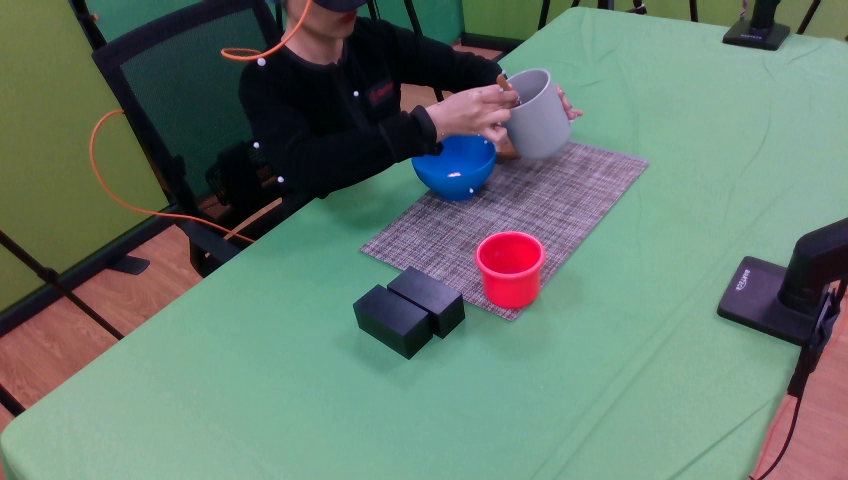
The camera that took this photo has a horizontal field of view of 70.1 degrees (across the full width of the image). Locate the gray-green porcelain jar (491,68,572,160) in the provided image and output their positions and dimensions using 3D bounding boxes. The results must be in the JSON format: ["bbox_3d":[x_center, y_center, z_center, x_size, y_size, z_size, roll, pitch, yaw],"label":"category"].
[{"bbox_3d":[0.188,-0.210,1.035,0.105,0.127,0.105,-21,40,20],"label":"gray-green porcelain jar"}]

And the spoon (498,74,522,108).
[{"bbox_3d":[0.147,-0.232,1.003,0.041,0.195,0.021,-38,67,12],"label":"spoon"}]

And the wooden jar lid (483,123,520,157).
[{"bbox_3d":[0.165,-0.194,1.177,0.108,0.021,0.108,-4,40,4],"label":"wooden jar lid"}]

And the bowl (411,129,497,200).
[{"bbox_3d":[0.056,-0.124,1.069,0.151,0.077,0.150,-5,40,5],"label":"bowl"}]
